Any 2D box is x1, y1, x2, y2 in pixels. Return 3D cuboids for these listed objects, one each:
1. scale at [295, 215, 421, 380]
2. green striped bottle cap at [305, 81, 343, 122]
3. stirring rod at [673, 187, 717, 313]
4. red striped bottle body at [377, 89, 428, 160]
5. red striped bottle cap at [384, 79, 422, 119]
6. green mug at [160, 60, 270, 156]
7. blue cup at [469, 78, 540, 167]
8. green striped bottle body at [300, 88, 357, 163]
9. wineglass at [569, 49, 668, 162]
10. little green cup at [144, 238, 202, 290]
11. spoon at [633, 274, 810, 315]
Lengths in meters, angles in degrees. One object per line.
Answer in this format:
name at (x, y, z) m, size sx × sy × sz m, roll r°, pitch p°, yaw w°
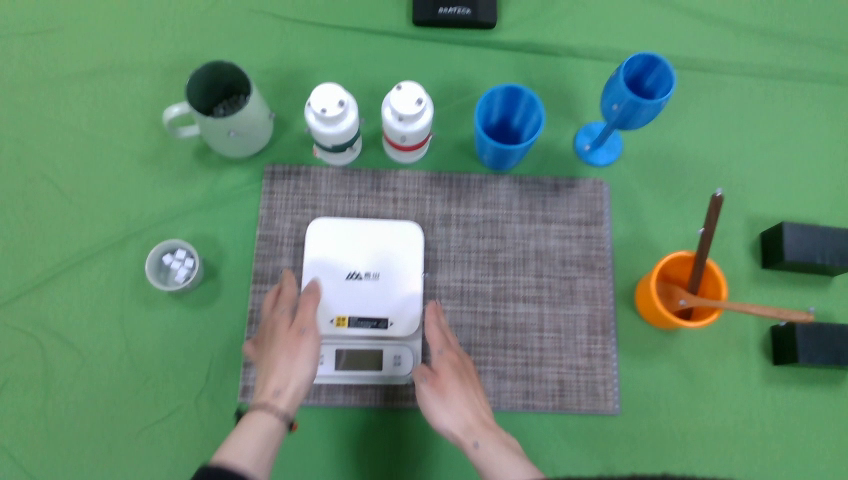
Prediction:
scale at (-0.079, 0.068, 0.740) m, size 0.149 × 0.032 × 0.200 m, roll 1°, pitch 76°, yaw -3°
green striped bottle cap at (-0.116, -0.161, 0.702) m, size 0.044 × 0.020 × 0.044 m, roll 1°, pitch 75°, yaw -3°
stirring rod at (0.320, 0.017, 0.719) m, size 0.014 × 0.177 × 0.006 m, roll 8°, pitch 34°, yaw 13°
red striped bottle body at (-0.028, -0.151, 0.759) m, size 0.063 × 0.120 × 0.062 m, roll 1°, pitch 75°, yaw -3°
red striped bottle cap at (-0.024, -0.165, 0.708) m, size 0.044 × 0.018 × 0.044 m, roll 1°, pitch 77°, yaw -3°
green mug at (-0.263, -0.157, 0.755) m, size 0.125 × 0.105 × 0.092 m, roll -20°, pitch 77°, yaw -8°
blue cup at (0.096, -0.140, 0.772) m, size 0.093 × 0.100 × 0.092 m, roll 0°, pitch 75°, yaw -1°
green striped bottle body at (-0.117, -0.146, 0.752) m, size 0.063 × 0.120 × 0.063 m, roll 1°, pitch 74°, yaw -2°
wineglass at (0.234, -0.159, 0.748) m, size 0.074 × 0.173 × 0.073 m, roll 1°, pitch 75°, yaw -2°
little green cup at (-0.302, 0.032, 0.736) m, size 0.061 × 0.039 × 0.061 m, roll 1°, pitch 75°, yaw -4°
spoon at (0.338, 0.069, 0.707) m, size 0.022 × 0.192 × 0.041 m, roll 23°, pitch 79°, yaw -42°
